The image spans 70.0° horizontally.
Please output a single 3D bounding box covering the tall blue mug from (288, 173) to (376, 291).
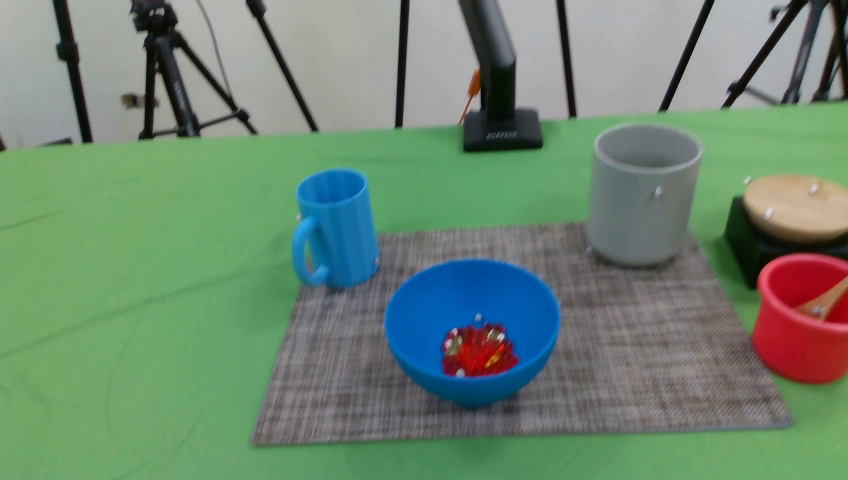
[{"bbox_3d":[-0.099,0.000,0.660,0.078,0.109,0.106,-2,36,3],"label":"tall blue mug"}]

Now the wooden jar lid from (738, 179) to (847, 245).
[{"bbox_3d":[0.384,-0.029,0.629,0.108,0.021,0.107,-5,35,4],"label":"wooden jar lid"}]

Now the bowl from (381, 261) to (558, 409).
[{"bbox_3d":[0.041,0.095,0.535,0.151,0.077,0.150,-4,35,3],"label":"bowl"}]

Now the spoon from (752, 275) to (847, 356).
[{"bbox_3d":[0.369,0.036,0.519,0.022,0.194,0.041,34,22,-23],"label":"spoon"}]

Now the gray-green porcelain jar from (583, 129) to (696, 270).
[{"bbox_3d":[0.227,-0.040,0.655,0.106,0.127,0.105,-4,36,3],"label":"gray-green porcelain jar"}]
